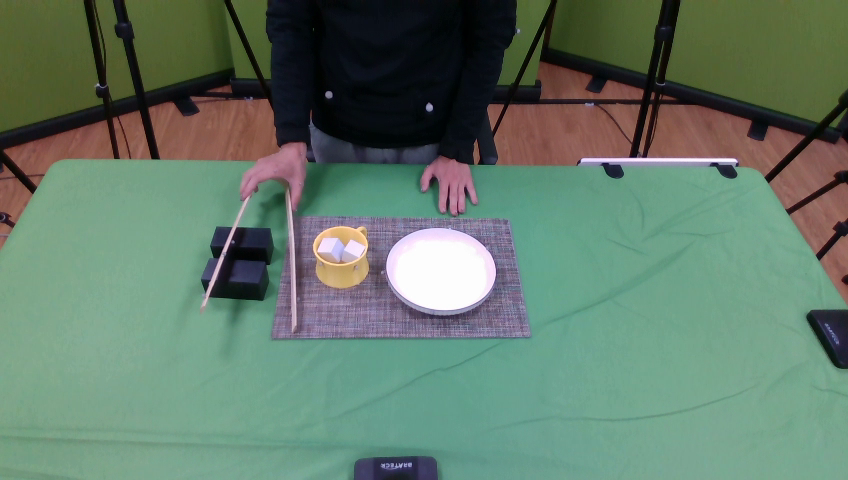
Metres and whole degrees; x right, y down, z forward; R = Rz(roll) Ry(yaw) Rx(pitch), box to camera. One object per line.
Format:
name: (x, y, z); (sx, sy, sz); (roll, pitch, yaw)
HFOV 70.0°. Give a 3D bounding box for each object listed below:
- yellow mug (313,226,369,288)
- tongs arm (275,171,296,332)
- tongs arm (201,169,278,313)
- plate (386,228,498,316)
yellow mug: (-0.146, 0.021, 1.132); (0.099, 0.064, 0.130); (24, 49, 19)
tongs arm: (-0.260, 0.009, 1.150); (0.028, 0.028, 0.385); (5, 46, -22)
tongs arm: (-0.333, -0.012, 1.122); (0.051, 0.026, 0.382); (18, 41, -15)
plate: (0.032, 0.062, 1.126); (0.208, 0.039, 0.206); (2, 46, -2)
